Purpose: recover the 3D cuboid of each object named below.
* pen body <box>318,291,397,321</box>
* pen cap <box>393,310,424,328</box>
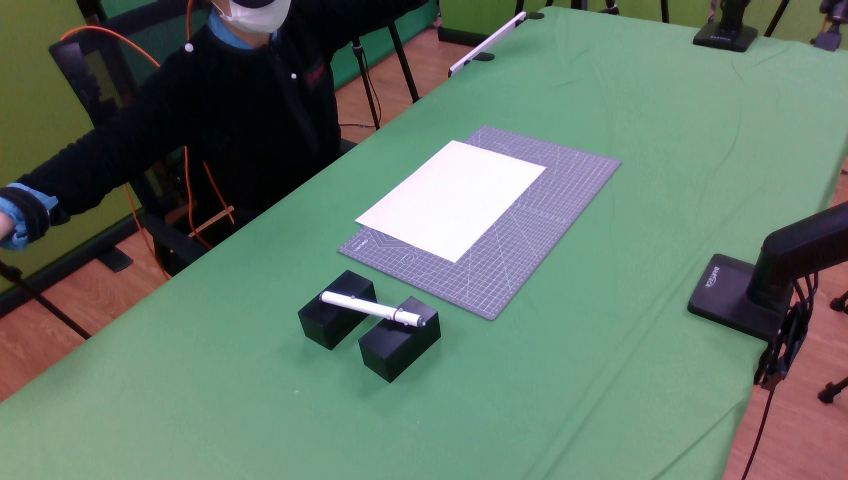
[{"bbox_3d":[-0.076,0.089,0.801,0.143,0.017,0.017,12,44,21],"label":"pen body"},{"bbox_3d":[-0.019,0.102,0.778,0.038,0.017,0.017,12,44,21],"label":"pen cap"}]
